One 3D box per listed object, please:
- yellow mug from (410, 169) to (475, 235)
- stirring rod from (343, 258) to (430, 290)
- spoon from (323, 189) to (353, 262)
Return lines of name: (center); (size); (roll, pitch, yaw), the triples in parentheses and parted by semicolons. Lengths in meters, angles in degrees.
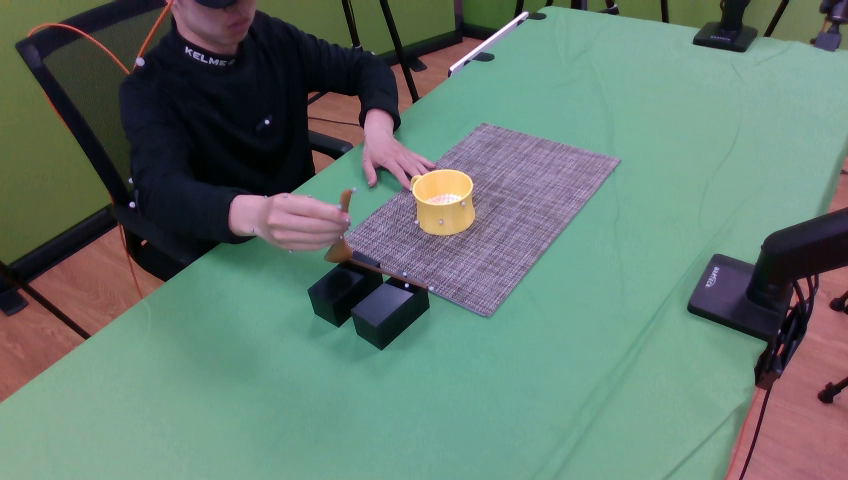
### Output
yellow mug: (0.022, -0.069, 1.007); (0.129, 0.064, 0.100); (29, 52, 36)
stirring rod: (-0.068, 0.043, 0.859); (0.175, 0.006, 0.014); (17, 11, 26)
spoon: (-0.109, -0.015, 0.788); (0.042, 0.194, 0.021); (-5, 60, -13)
